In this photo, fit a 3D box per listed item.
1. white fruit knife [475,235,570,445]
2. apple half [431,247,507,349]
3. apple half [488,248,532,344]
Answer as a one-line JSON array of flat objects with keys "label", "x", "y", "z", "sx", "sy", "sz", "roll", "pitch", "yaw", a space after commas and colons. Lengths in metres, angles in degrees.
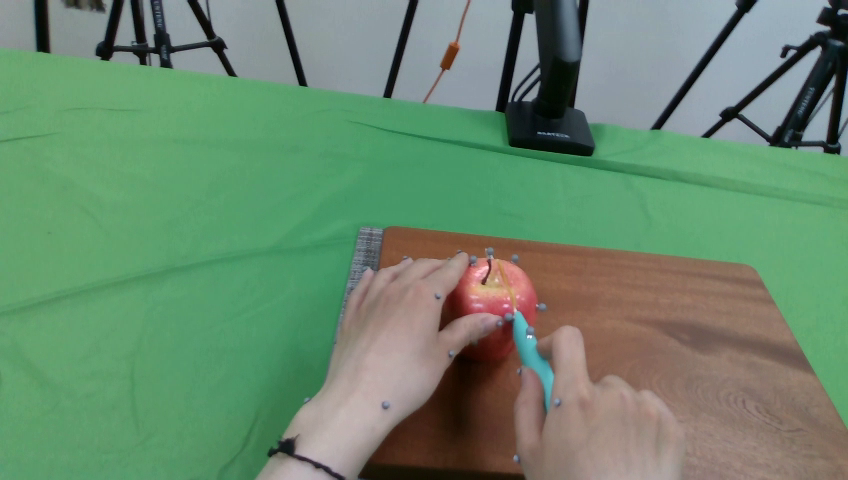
[{"label": "white fruit knife", "x": 0.066, "y": 0.058, "z": 0.457, "sx": 0.016, "sy": 0.027, "sz": 0.205, "roll": -2, "pitch": 37, "yaw": -13}, {"label": "apple half", "x": 0.032, "y": 0.050, "z": 0.497, "sx": 0.053, "sy": 0.075, "sz": 0.080, "roll": -5, "pitch": 45, "yaw": -10}, {"label": "apple half", "x": 0.071, "y": 0.047, "z": 0.506, "sx": 0.033, "sy": 0.082, "sz": 0.080, "roll": -5, "pitch": 43, "yaw": -12}]
